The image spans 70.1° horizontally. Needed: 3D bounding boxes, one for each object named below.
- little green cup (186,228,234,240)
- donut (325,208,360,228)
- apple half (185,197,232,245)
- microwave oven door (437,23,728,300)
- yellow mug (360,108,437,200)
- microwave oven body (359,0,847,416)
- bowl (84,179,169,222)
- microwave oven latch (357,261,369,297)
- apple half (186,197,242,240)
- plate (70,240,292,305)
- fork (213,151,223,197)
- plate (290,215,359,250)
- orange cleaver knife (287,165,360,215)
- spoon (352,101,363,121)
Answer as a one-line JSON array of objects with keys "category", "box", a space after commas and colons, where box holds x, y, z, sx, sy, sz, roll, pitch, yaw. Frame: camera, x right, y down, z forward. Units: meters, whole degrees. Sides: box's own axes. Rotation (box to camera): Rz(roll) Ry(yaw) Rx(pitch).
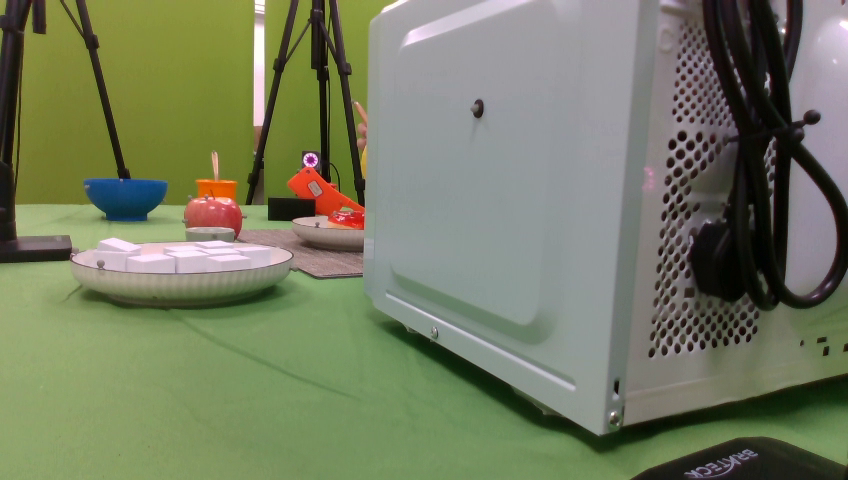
[{"category": "little green cup", "box": [-0.284, 0.005, 0.805, 0.061, 0.038, 0.061, 3, 8, 0]}, {"category": "donut", "box": [-0.110, -0.025, 0.974, 0.099, 0.048, 0.099, 5, 8, 0]}, {"category": "apple half", "box": [-0.337, -0.031, 0.927, 0.032, 0.081, 0.082, 13, 12, 37]}, {"category": "microwave oven door", "box": [0.181, -0.072, 0.621, 0.358, 0.243, 0.039, -2, 8, -29]}, {"category": "yellow mug", "box": [-0.036, -0.131, 0.900, 0.100, 0.131, 0.063, -14, 29, -37]}, {"category": "microwave oven body", "box": [0.211, -0.047, 0.474, 0.444, 0.260, 0.324, -1, 7, -28]}, {"category": "bowl", "box": [-0.584, -0.078, 1.194, 0.151, 0.077, 0.151, 3, 8, 0]}, {"category": "microwave oven latch", "box": [-0.019, 0.033, 0.531, 0.079, 0.029, 0.030, -1, 7, -27]}, {"category": "apple half", "box": [-0.306, -0.026, 0.904, 0.053, 0.074, 0.081, 14, 9, 37]}, {"category": "plate", "box": [-0.242, 0.031, 0.618, 0.208, 0.039, 0.207, 2, 8, 0]}, {"category": "fork", "box": [-0.494, -0.143, 1.442, 0.028, 0.018, 0.206, -2, 52, -20]}, {"category": "plate", "box": [-0.110, -0.014, 0.973, 0.209, 0.038, 0.209, 2, 8, 0]}, {"category": "orange cleaver knife", "box": [-0.211, -0.093, 1.382, 0.212, 0.077, 0.012, 33, 1, -15]}, {"category": "spoon", "box": [-0.077, -0.155, 0.963, 0.042, 0.193, 0.021, 9, -41, -46]}]
